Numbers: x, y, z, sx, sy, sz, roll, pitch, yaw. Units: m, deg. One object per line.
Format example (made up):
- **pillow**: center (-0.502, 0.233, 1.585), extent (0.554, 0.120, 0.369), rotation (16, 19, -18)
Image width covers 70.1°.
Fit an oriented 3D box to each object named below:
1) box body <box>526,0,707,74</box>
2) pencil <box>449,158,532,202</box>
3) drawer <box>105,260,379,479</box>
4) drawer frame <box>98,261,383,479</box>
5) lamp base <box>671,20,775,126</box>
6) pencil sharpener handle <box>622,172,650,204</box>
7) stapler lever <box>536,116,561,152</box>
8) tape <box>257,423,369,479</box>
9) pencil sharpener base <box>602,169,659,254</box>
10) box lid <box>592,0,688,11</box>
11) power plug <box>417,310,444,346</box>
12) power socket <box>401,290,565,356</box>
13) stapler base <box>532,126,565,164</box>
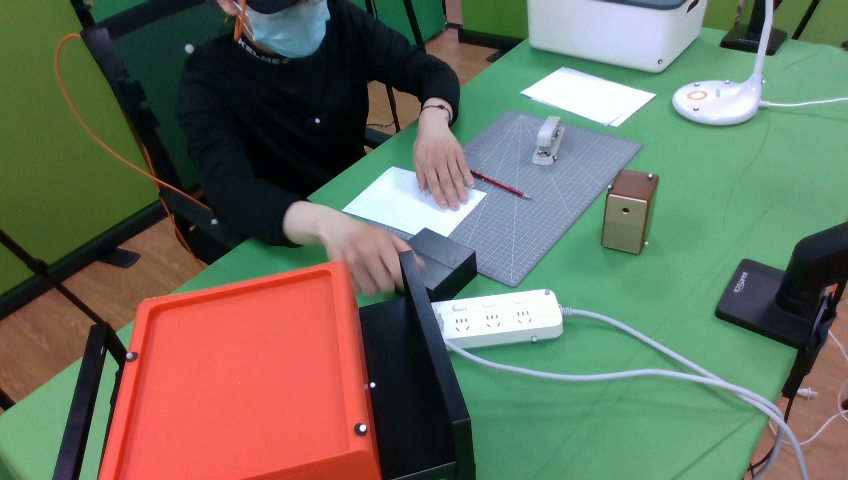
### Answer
- **box body**: center (0.450, -0.540, 1.430), extent (0.361, 0.161, 0.255), rotation (24, 50, 31)
- **pencil**: center (0.117, -0.109, 1.091), extent (0.012, 0.012, 0.192), rotation (-36, 51, -29)
- **drawer**: center (-0.150, 0.127, 0.525), extent (0.195, 0.073, 0.210), rotation (-11, 41, -5)
- **drawer frame**: center (-0.148, 0.129, 0.519), extent (0.202, 0.083, 0.212), rotation (-12, 41, -6)
- **lamp base**: center (0.582, -0.332, 1.153), extent (0.179, 0.181, 0.160), rotation (2, 42, 7)
- **pencil sharpener handle**: center (0.328, -0.086, 0.940), extent (0.036, 0.068, 0.030), rotation (29, 49, 8)
- **stapler lever**: center (0.236, -0.209, 1.141), extent (0.026, 0.040, 0.118), rotation (10, 43, 18)
- **tape**: center (-0.121, 0.262, 0.660), extent (0.117, 0.053, 0.116), rotation (-4, 40, 4)
- **pencil sharpener base**: center (0.312, -0.044, 0.913), extent (0.061, 0.107, 0.077), rotation (14, 45, 24)
- **box lid**: center (0.441, -0.596, 1.383), extent (0.368, 0.015, 0.264), rotation (24, 49, 31)
- **power plug**: center (0.006, 0.122, 0.785), extent (0.035, 0.053, 0.072), rotation (-1, 40, 8)
- **power socket**: center (0.080, 0.112, 0.822), extent (0.227, 0.033, 0.072), rotation (-6, 41, 0)
- **stapler base**: center (0.238, -0.189, 1.155), extent (0.041, 0.024, 0.130), rotation (10, 42, 18)
